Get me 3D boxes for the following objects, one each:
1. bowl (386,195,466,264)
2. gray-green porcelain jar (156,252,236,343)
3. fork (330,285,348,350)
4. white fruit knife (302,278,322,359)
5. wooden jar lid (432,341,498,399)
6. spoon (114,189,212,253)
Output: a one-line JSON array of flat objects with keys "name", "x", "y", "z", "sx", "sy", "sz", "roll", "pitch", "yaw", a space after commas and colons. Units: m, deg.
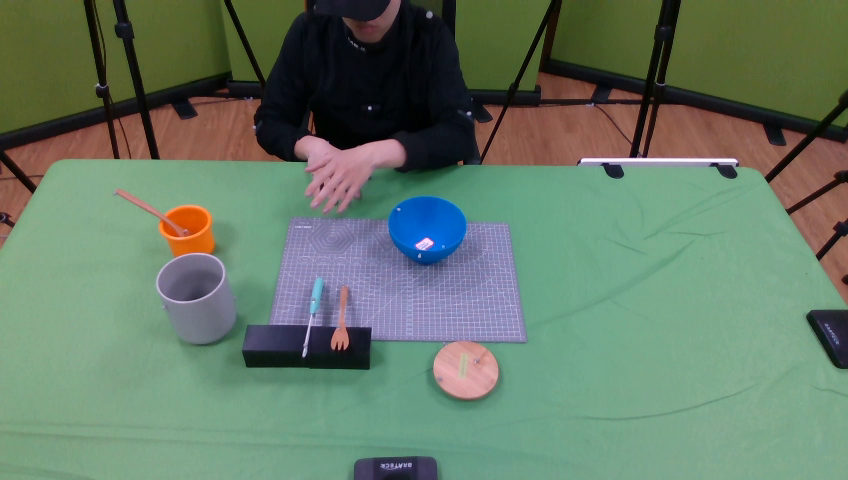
[{"name": "bowl", "x": 0.003, "y": -0.007, "z": 1.162, "sx": 0.151, "sy": 0.077, "sz": 0.150, "roll": 2, "pitch": 46, "yaw": -2}, {"name": "gray-green porcelain jar", "x": -0.371, "y": 0.100, "z": 0.999, "sx": 0.106, "sy": 0.127, "sz": 0.105, "roll": 2, "pitch": 46, "yaw": -2}, {"name": "fork", "x": -0.140, "y": 0.127, "z": 1.021, "sx": 0.028, "sy": 0.019, "sz": 0.206, "roll": -5, "pitch": 28, "yaw": -2}, {"name": "white fruit knife", "x": -0.189, "y": 0.126, "z": 1.020, "sx": 0.016, "sy": 0.027, "sz": 0.206, "roll": 0, "pitch": 33, "yaw": -3}, {"name": "wooden jar lid", "x": 0.067, "y": 0.216, "z": 0.997, "sx": 0.108, "sy": 0.021, "sz": 0.107, "roll": 1, "pitch": 46, "yaw": -1}, {"name": "spoon", "x": -0.475, "y": -0.037, "z": 1.109, "sx": 0.021, "sy": 0.195, "sz": 0.041, "roll": -29, "pitch": 34, "yaw": 32}]
